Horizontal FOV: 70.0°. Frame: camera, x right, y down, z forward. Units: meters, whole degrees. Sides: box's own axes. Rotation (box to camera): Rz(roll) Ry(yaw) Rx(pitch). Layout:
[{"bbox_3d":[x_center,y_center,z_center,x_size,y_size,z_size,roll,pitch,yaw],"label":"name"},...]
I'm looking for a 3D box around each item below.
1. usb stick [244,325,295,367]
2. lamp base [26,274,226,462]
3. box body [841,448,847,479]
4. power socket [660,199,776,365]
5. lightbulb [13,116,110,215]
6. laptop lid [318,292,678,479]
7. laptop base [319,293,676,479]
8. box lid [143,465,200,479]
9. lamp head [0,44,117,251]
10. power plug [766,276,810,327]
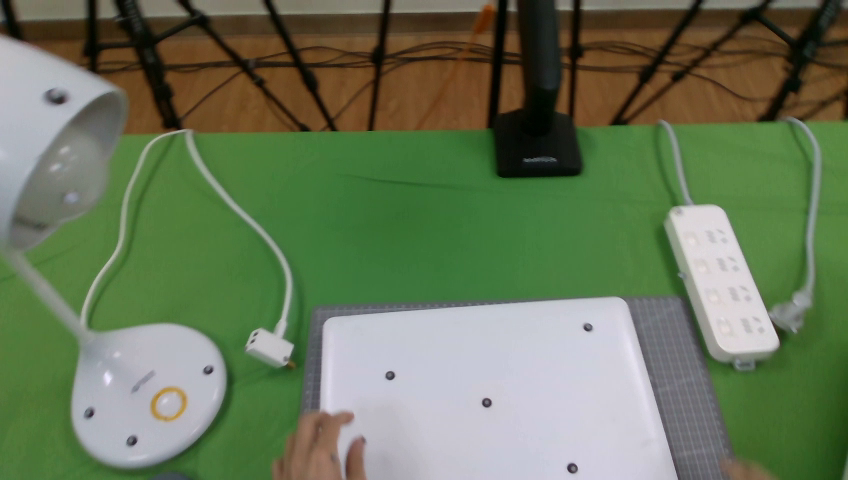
[{"bbox_3d":[-0.167,0.120,0.672,0.021,0.060,0.027,-25,37,39],"label":"usb stick"},{"bbox_3d":[-0.310,0.111,0.599,0.178,0.182,0.160,20,57,18],"label":"lamp base"},{"bbox_3d":[0.543,0.201,0.534,0.253,0.162,0.362,26,59,18],"label":"box body"},{"bbox_3d":[0.349,0.040,0.731,0.072,0.033,0.224,-3,54,-2],"label":"power socket"},{"bbox_3d":[-0.232,-0.064,0.351,0.059,0.059,0.108,-40,102,-24],"label":"lightbulb"},{"bbox_3d":[0.066,0.169,0.637,0.357,0.013,0.239,-3,57,-1],"label":"laptop lid"},{"bbox_3d":[0.066,0.174,0.648,0.354,0.023,0.233,-4,58,-2],"label":"laptop base"},{"bbox_3d":[-0.206,0.395,0.501,0.368,0.015,0.263,35,63,22],"label":"box lid"},{"bbox_3d":[-0.264,-0.066,0.352,0.123,0.113,0.111,26,56,-9],"label":"lamp head"},{"bbox_3d":[0.425,0.077,0.700,0.073,0.053,0.035,-14,50,-30],"label":"power plug"}]
